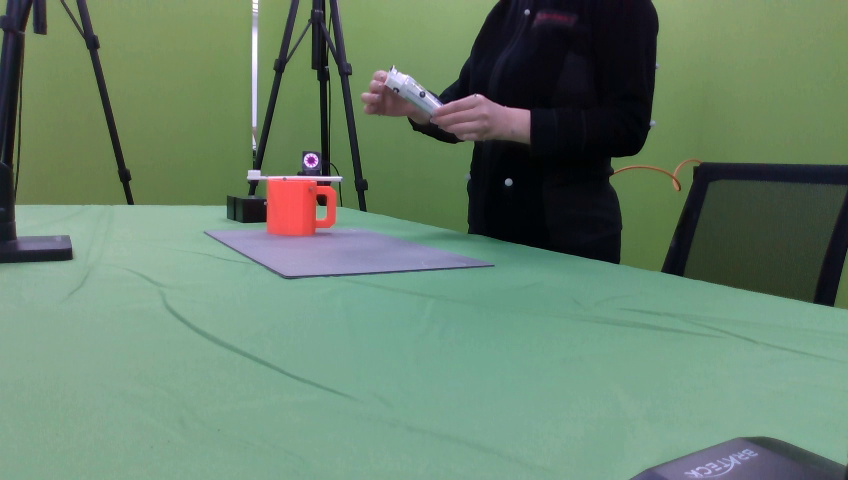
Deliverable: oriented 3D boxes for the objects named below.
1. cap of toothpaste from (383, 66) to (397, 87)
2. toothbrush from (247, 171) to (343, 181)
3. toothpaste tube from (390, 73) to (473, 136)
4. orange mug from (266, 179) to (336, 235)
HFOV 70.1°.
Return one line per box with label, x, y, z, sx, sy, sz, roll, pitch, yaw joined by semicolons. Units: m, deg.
cap of toothpaste;-0.054;-0.267;0.986;0.011;0.037;0.037;23;0;-20
toothbrush;-0.230;-0.115;1.092;0.183;0.016;0.014;-2;6;-35
toothpaste tube;0.013;-0.224;1.003;0.165;0.034;0.055;31;24;-13
orange mug;-0.222;-0.062;1.094;0.127;0.101;0.083;-5;10;-22
